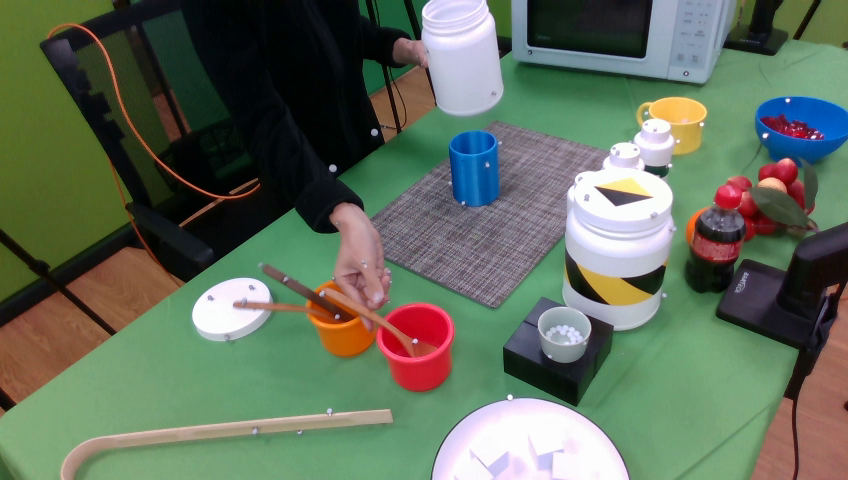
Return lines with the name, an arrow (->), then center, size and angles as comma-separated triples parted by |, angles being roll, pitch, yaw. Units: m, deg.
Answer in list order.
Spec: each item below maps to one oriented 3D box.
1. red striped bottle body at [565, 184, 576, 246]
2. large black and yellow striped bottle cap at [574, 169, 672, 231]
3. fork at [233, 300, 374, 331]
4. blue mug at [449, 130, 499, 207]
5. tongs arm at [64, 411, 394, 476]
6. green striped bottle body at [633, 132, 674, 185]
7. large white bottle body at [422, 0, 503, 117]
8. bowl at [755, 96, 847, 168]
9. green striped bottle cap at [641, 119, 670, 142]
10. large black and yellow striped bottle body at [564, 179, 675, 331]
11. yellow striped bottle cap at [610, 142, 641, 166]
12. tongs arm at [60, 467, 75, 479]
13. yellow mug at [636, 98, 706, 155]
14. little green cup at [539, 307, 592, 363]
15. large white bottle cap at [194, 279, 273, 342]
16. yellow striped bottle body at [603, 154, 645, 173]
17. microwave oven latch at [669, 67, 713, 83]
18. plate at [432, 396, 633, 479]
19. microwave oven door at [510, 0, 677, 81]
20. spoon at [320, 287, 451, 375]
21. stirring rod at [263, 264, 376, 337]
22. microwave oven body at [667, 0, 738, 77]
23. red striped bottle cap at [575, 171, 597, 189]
red striped bottle body -> 0.247, -0.041, 0.910 | 0.063, 0.120, 0.062 | -3, 39, 3
large black and yellow striped bottle cap -> 0.242, -0.051, 0.738 | 0.115, 0.019, 0.114 | -4, 37, 3
fork -> -0.150, 0.097, 0.784 | 0.209, 0.018, 0.028 | 20, 24, -42
blue mug -> 0.089, -0.132, 1.049 | 0.082, 0.106, 0.116 | 0, 40, 9
tongs arm -> -0.228, 0.241, 0.715 | 0.385, 0.026, 0.050 | -5, 44, 4
green striped bottle body -> 0.376, -0.135, 1.001 | 0.063, 0.120, 0.063 | -5, 40, 5
large white bottle body -> 0.069, -0.330, 1.082 | 0.130, 0.185, 0.130 | -8, 45, 8
bowl -> 0.645, -0.177, 1.041 | 0.151, 0.077, 0.150 | -5, 40, 4
green striped bottle cap -> 0.371, -0.175, 0.968 | 0.044, 0.020, 0.044 | -5, 41, 5
large black and yellow striped bottle body -> 0.253, 0.014, 0.793 | 0.131, 0.185, 0.130 | -5, 40, 4
yellow striped bottle cap -> 0.308, -0.131, 0.925 | 0.044, 0.019, 0.044 | -4, 45, 4
tongs arm -> -0.239, 0.301, 0.649 | 0.386, 0.028, 0.028 | 6, 49, 16
yellow mug -> 0.452, -0.217, 1.128 | 0.100, 0.064, 0.129 | -33, 46, -28
little green cup -> 0.167, 0.114, 0.721 | 0.061, 0.039, 0.061 | -4, 43, 4
large white bottle cap -> -0.284, 0.102, 0.902 | 0.115, 0.018, 0.114 | -4, 40, 4
yellow striped bottle body -> 0.314, -0.091, 0.957 | 0.063, 0.121, 0.062 | -4, 40, 4
microwave oven latch -> 0.556, -0.348, 1.261 | 0.078, 0.029, 0.030 | 16, 46, 27
plate -> 0.112, 0.261, 0.634 | 0.209, 0.038, 0.208 | -5, 40, 4
microwave oven door -> 0.354, -0.478, 1.290 | 0.353, 0.245, 0.039 | 15, 45, 25
spoon -> -0.046, 0.111, 0.757 | 0.194, 0.021, 0.041 | 38, 41, -15
stirring rod -> -0.138, 0.081, 0.808 | 0.177, 0.006, 0.014 | 34, 44, -17
microwave oven body -> 0.462, -0.552, 1.369 | 0.439, 0.261, 0.326 | 15, 45, 26
red striped bottle cap -> 0.242, -0.081, 0.876 | 0.044, 0.018, 0.044 | -5, 44, 5
